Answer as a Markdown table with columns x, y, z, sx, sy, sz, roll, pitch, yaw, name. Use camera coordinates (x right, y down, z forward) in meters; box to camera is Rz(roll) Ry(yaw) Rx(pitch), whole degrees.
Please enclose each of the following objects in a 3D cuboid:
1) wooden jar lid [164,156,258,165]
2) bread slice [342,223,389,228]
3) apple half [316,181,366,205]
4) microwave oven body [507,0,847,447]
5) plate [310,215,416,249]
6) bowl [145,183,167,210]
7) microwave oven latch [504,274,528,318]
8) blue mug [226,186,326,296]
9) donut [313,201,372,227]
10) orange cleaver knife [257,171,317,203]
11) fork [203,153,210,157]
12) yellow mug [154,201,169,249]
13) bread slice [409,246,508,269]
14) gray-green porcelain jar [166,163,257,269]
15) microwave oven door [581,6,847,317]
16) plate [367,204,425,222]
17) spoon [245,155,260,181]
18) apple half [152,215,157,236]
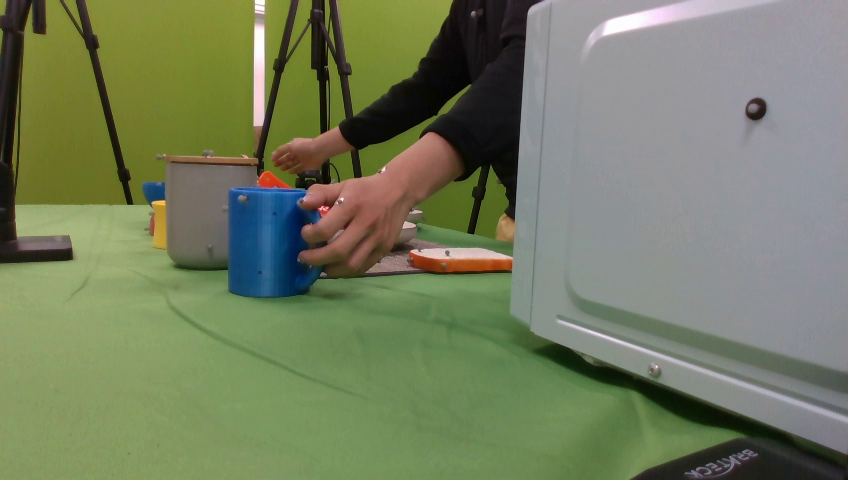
| x | y | z | sx | sy | sz | roll | pitch | yaw | name |
| --- | --- | --- | --- | --- | --- | --- | --- | --- | --- |
| -0.261 | -0.093 | 0.746 | 0.108 | 0.020 | 0.108 | 1 | 9 | 0 | wooden jar lid |
| -0.120 | -0.013 | 0.971 | 0.106 | 0.018 | 0.135 | 9 | 11 | 41 | bread slice |
| -0.128 | -0.076 | 0.954 | 0.081 | 0.033 | 0.081 | 7 | 12 | -1 | apple half |
| 0.331 | -0.042 | 0.425 | 0.444 | 0.260 | 0.324 | -2 | 8 | -31 | microwave oven body |
| -0.117 | -0.014 | 0.967 | 0.208 | 0.039 | 0.207 | 2 | 7 | 0 | plate |
| -0.459 | -0.068 | 1.175 | 0.151 | 0.077 | 0.151 | 3 | 7 | 0 | bowl |
| 0.100 | 0.041 | 0.470 | 0.079 | 0.029 | 0.030 | -1 | 7 | -27 | microwave oven latch |
| -0.146 | 0.000 | 0.618 | 0.116 | 0.106 | 0.083 | 7 | 9 | 31 | blue mug |
| -0.132 | -0.042 | 0.959 | 0.099 | 0.048 | 0.099 | 2 | 7 | 0 | donut |
| -0.282 | -0.087 | 1.342 | 0.212 | 0.077 | 0.012 | 23 | -15 | -40 | orange cleaver knife |
| -0.480 | -0.135 | 1.411 | 0.028 | 0.018 | 0.207 | 1 | -34 | -1 | fork |
| -0.337 | -0.023 | 0.899 | 0.130 | 0.064 | 0.100 | 8 | 9 | 34 | yellow mug |
| 0.048 | 0.022 | 0.816 | 0.132 | 0.019 | 0.104 | 0 | 7 | -24 | bread slice |
| -0.263 | -0.032 | 0.754 | 0.106 | 0.126 | 0.106 | 2 | 7 | 0 | gray-green porcelain jar |
| 0.295 | -0.067 | 0.570 | 0.358 | 0.243 | 0.039 | -3 | 8 | -31 | microwave oven door |
| -0.102 | -0.053 | 1.299 | 0.209 | 0.038 | 0.209 | 2 | 8 | 0 | plate |
| -0.421 | -0.150 | 1.540 | 0.042 | 0.021 | 0.193 | -5 | 55 | -37 | spoon |
| -0.415 | -0.034 | 1.017 | 0.081 | 0.053 | 0.074 | 1 | 10 | -9 | apple half |
